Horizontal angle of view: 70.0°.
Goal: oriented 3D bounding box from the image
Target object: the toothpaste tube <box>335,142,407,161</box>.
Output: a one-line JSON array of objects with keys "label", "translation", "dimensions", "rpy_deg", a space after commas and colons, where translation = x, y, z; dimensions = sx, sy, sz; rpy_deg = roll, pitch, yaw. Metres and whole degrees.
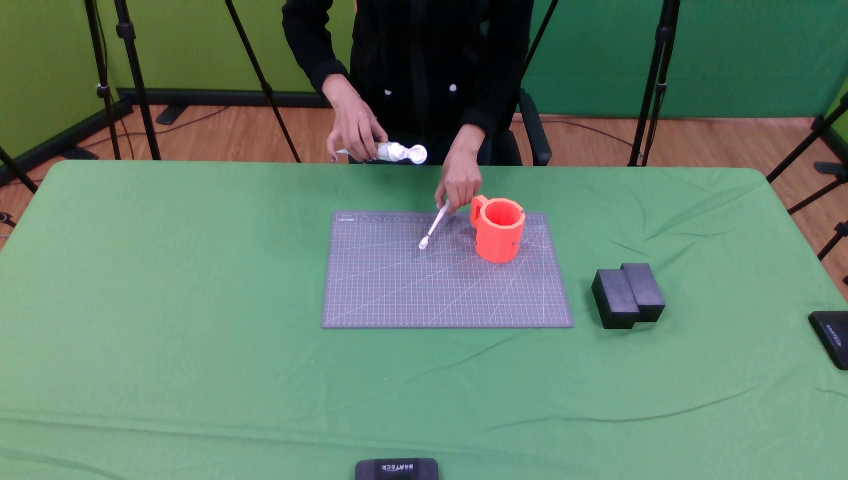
[{"label": "toothpaste tube", "translation": [-0.096, -0.174, 1.156], "dimensions": [0.164, 0.034, 0.055], "rpy_deg": [12, 29, 39]}]

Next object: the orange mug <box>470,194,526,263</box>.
[{"label": "orange mug", "translation": [0.136, -0.030, 1.180], "dimensions": [0.083, 0.101, 0.125], "rpy_deg": [-26, 58, -26]}]

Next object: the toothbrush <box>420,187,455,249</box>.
[{"label": "toothbrush", "translation": [0.029, -0.050, 1.216], "dimensions": [0.014, 0.017, 0.181], "rpy_deg": [-4, 41, 33]}]

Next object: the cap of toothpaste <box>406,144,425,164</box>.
[{"label": "cap of toothpaste", "translation": [-0.016, -0.159, 1.117], "dimensions": [0.037, 0.037, 0.011], "rpy_deg": [22, 9, 17]}]
